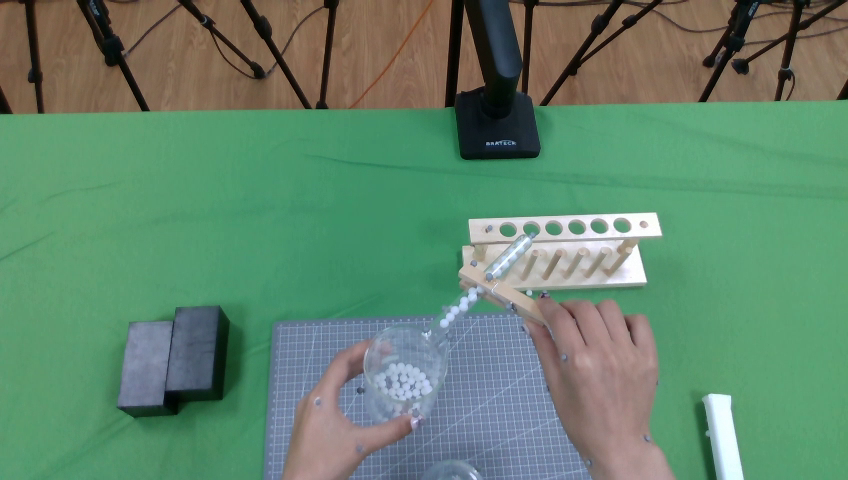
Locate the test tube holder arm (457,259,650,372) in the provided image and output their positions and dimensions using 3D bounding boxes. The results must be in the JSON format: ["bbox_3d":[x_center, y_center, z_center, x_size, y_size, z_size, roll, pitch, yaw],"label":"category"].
[{"bbox_3d":[0.104,0.061,0.514,0.177,0.013,0.015,27,63,25],"label":"test tube holder arm"}]

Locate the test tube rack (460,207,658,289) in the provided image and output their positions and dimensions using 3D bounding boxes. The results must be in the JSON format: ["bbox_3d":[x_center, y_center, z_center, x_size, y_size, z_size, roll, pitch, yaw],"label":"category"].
[{"bbox_3d":[0.173,0.011,0.788,0.243,0.086,0.066,-2,63,-5],"label":"test tube rack"}]

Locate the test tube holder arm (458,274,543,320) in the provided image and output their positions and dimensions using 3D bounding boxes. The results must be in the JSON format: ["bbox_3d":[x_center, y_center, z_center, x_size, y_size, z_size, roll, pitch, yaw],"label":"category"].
[{"bbox_3d":[0.069,0.047,0.538,0.087,0.010,0.015,24,61,31],"label":"test tube holder arm"}]

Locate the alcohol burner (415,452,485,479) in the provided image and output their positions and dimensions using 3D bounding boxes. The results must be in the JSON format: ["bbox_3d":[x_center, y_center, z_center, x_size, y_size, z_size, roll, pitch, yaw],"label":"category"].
[{"bbox_3d":[0.029,0.259,0.632,0.078,0.120,0.077,2,61,-3],"label":"alcohol burner"}]

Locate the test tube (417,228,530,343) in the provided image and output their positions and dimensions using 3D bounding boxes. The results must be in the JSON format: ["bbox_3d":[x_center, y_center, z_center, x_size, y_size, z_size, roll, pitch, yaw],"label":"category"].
[{"bbox_3d":[0.048,0.037,0.544,0.017,0.017,0.150,40,63,16],"label":"test tube"}]

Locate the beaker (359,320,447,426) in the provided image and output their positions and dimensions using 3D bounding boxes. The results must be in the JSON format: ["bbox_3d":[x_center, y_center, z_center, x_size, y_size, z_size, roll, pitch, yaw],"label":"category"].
[{"bbox_3d":[-0.021,0.127,0.570,0.084,0.101,0.073,-27,65,-22],"label":"beaker"}]

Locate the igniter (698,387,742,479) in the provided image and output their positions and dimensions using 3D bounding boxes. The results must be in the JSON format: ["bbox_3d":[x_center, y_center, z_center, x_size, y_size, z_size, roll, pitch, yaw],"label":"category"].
[{"bbox_3d":[0.347,0.304,0.681,0.057,0.025,0.274,8,62,-10],"label":"igniter"}]
